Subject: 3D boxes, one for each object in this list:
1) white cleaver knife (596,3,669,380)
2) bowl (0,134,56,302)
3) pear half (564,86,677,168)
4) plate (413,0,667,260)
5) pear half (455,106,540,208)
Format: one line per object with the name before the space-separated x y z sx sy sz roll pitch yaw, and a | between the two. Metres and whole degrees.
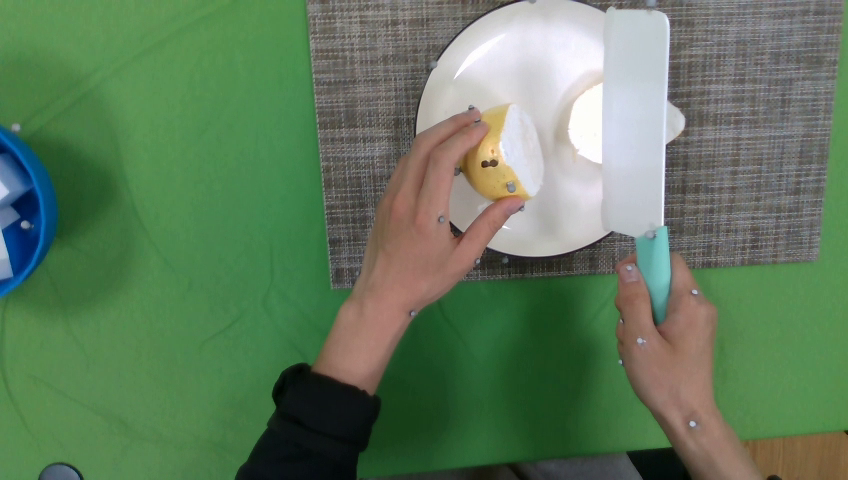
white cleaver knife | 0.157 -0.025 0.455 0.021 0.065 0.288 -14 109 -24
bowl | -0.355 -0.025 0.474 0.151 0.076 0.152 -1 102 -3
pear half | 0.161 -0.093 0.503 0.088 0.031 0.070 4 101 14
plate | 0.095 -0.088 0.505 0.208 0.039 0.208 -1 103 -3
pear half | 0.048 -0.057 0.454 0.056 0.110 0.076 -20 92 24
